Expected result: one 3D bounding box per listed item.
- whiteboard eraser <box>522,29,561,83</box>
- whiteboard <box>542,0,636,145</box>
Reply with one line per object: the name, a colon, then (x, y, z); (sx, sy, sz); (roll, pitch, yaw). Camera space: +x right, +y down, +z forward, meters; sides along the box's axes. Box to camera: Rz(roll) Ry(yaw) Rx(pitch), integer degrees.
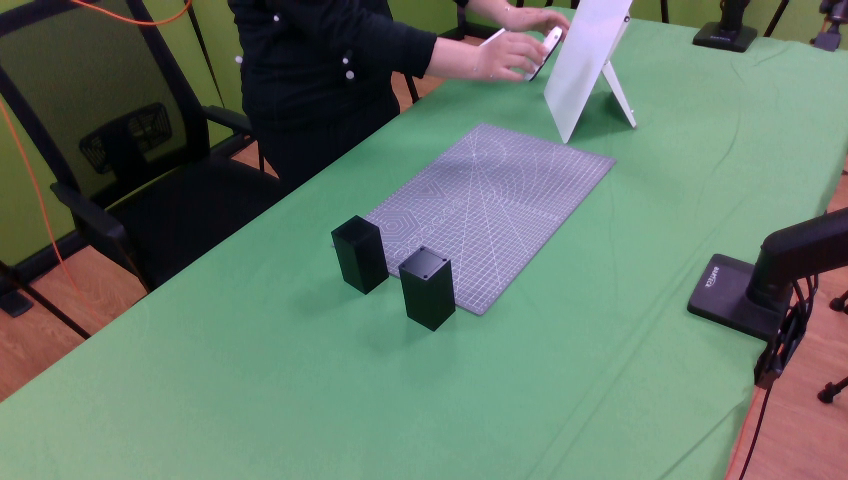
whiteboard eraser: (0.207, -0.326, 1.072); (0.019, 0.101, 0.041); (26, 33, -13)
whiteboard: (0.365, -0.351, 1.160); (0.144, 0.305, 0.216); (9, 39, -10)
